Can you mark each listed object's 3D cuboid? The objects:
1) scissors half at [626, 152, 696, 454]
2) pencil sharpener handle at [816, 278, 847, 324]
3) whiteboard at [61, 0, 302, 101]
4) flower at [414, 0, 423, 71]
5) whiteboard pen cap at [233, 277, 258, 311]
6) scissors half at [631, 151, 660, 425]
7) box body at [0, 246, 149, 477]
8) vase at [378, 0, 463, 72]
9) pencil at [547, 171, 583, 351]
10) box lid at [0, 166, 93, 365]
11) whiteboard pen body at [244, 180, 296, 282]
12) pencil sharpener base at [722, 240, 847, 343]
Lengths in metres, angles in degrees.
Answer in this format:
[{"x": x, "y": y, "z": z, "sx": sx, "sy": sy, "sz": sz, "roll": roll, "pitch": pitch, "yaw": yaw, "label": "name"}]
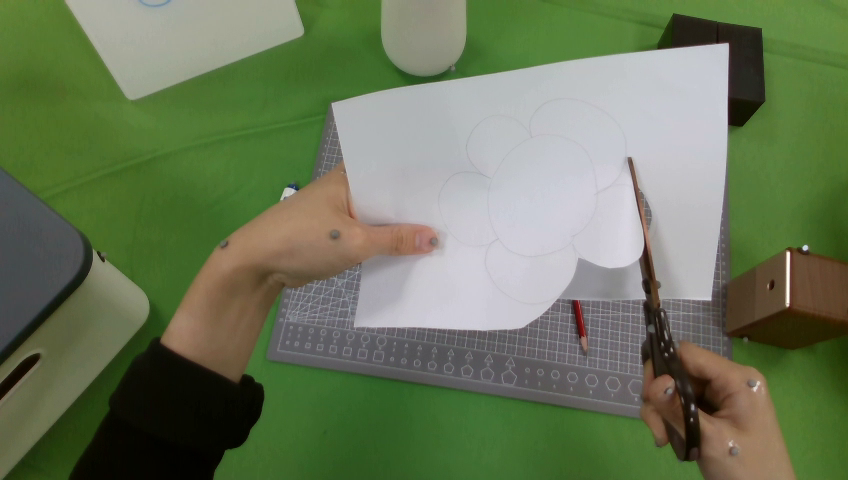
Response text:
[{"x": 0.132, "y": 0.037, "z": 0.341, "sx": 0.013, "sy": 0.040, "sz": 0.175, "roll": -11, "pitch": 91, "yaw": 2, "label": "scissors half"}, {"x": 0.392, "y": 0.059, "z": 0.553, "sx": 0.030, "sy": 0.068, "sz": 0.035, "roll": 12, "pitch": 63, "yaw": 1, "label": "pencil sharpener handle"}, {"x": -0.291, "y": -0.342, "z": 0.628, "sx": 0.217, "sy": 0.308, "sz": 0.142, "roll": -25, "pitch": 52, "yaw": -9, "label": "whiteboard"}, {"x": -0.009, "y": -0.311, "z": 0.557, "sx": 0.044, "sy": 0.365, "sz": 0.038, "roll": 1, "pitch": 51, "yaw": 3, "label": "flower"}, {"x": -0.175, "y": 0.053, "z": 0.600, "sx": 0.018, "sy": 0.018, "sz": 0.033, "roll": 14, "pitch": 65, "yaw": 5, "label": "whiteboard pen cap"}, {"x": 0.133, "y": 0.032, "z": 0.361, "sx": 0.013, "sy": 0.040, "sz": 0.176, "roll": -10, "pitch": 110, "yaw": 8, "label": "scissors half"}, {"x": -0.466, "y": 0.032, "z": 0.528, "sx": 0.362, "sy": 0.161, "sz": 0.253, "roll": 34, "pitch": 73, "yaw": 11, "label": "box body"}, {"x": -0.005, "y": -0.268, "z": 0.630, "sx": 0.098, "sy": 0.201, "sz": 0.097, "roll": 0, "pitch": 68, "yaw": 0, "label": "vase"}, {"x": 0.147, "y": 0.018, "z": 0.625, "sx": 0.012, "sy": 0.012, "sz": 0.192, "roll": -5, "pitch": 71, "yaw": -3, "label": "pencil"}, {"x": -0.467, "y": 0.004, "z": 0.459, "sx": 0.370, "sy": 0.015, "sz": 0.262, "roll": 34, "pitch": 72, "yaw": 11, "label": "box lid"}, {"x": -0.161, "y": 0.000, "z": 0.622, "sx": 0.017, "sy": 0.017, "sz": 0.140, "roll": 15, "pitch": 68, "yaw": 5, "label": "whiteboard pen body"}, {"x": 0.341, "y": 0.052, "z": 0.565, "sx": 0.077, "sy": 0.107, "sz": 0.061, "roll": 12, "pitch": 69, "yaw": 0, "label": "pencil sharpener base"}]
